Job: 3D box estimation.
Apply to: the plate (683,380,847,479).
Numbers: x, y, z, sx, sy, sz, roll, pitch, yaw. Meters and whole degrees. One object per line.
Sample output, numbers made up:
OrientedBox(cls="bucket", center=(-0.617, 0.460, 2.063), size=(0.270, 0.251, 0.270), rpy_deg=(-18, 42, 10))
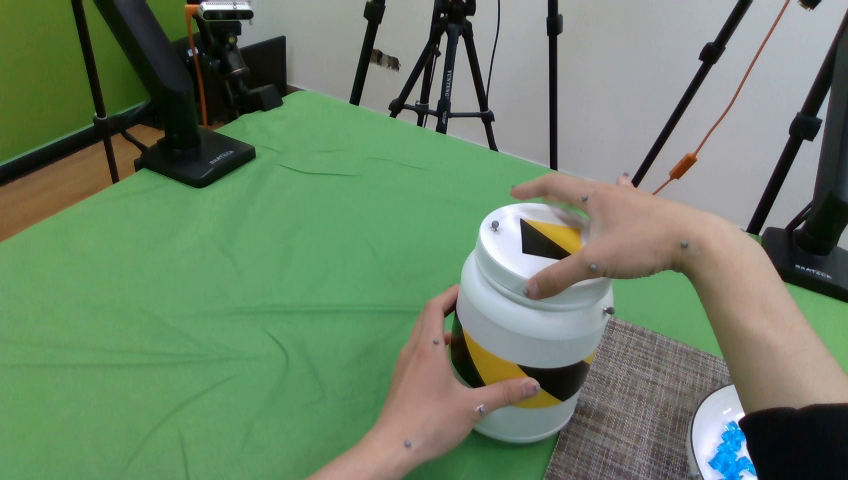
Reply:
OrientedBox(cls="plate", center=(0.325, 0.212, 0.522), size=(0.208, 0.039, 0.205), rpy_deg=(6, 36, -4))

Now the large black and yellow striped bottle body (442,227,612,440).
OrientedBox(cls="large black and yellow striped bottle body", center=(0.090, 0.074, 0.544), size=(0.131, 0.185, 0.129), rpy_deg=(5, 37, -3))

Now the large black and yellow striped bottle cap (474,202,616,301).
OrientedBox(cls="large black and yellow striped bottle cap", center=(0.098, 0.006, 0.494), size=(0.115, 0.019, 0.114), rpy_deg=(7, 36, -5))
